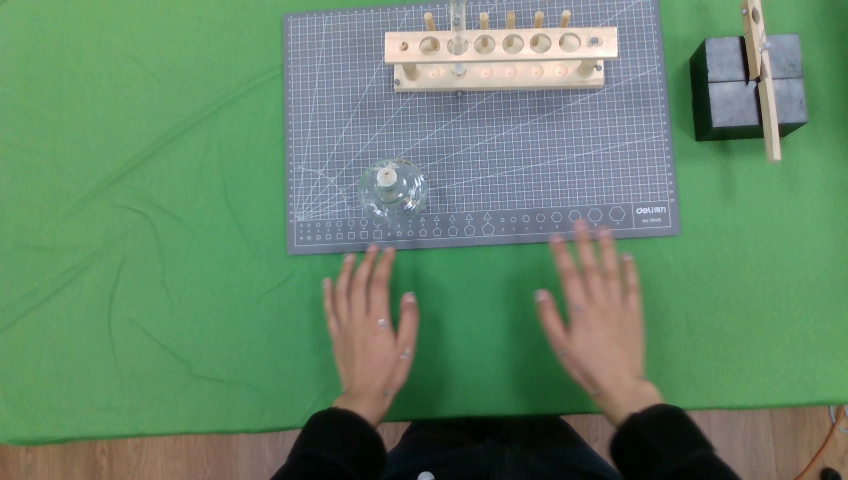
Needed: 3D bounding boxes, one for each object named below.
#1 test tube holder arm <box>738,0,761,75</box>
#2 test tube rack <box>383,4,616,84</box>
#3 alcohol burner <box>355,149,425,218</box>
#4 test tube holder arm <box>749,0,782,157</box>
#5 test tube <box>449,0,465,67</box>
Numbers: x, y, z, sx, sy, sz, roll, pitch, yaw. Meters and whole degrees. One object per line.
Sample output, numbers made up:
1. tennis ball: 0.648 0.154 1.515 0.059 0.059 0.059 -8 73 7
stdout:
1. test tube holder arm: 0.348 -0.220 0.646 0.010 0.015 0.087 -6 84 -1
2. test tube rack: 0.081 -0.222 0.675 0.242 0.085 0.066 0 84 4
3. alcohol burner: -0.038 -0.065 0.651 0.078 0.119 0.077 0 82 3
4. test tube holder arm: 0.359 -0.176 0.642 0.013 0.015 0.178 -7 84 -1
5. test tube: 0.034 -0.217 0.628 0.017 0.150 0.017 0 82 3
